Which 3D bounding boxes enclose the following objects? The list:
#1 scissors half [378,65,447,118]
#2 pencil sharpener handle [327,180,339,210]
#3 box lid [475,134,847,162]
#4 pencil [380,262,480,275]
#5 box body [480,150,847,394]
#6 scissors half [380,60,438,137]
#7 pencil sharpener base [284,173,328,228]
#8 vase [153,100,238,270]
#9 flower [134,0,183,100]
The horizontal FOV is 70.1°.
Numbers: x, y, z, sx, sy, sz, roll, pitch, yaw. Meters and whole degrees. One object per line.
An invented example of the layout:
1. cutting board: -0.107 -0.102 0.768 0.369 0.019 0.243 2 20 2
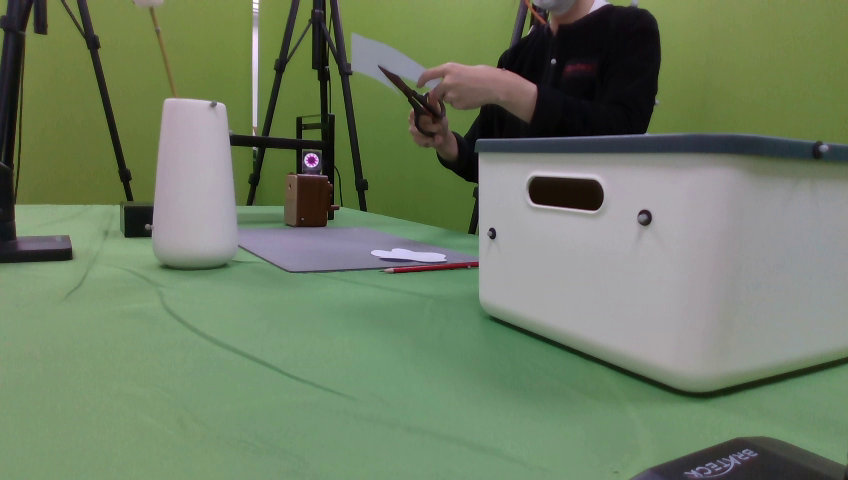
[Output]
1. scissors half: -0.019 -0.269 1.087 0.013 0.040 0.176 1 -16 45
2. pencil sharpener handle: -0.194 -0.095 1.256 0.031 0.067 0.036 -2 -7 -36
3. box lid: 0.256 -0.073 0.528 0.373 0.015 0.262 -2 8 -31
4. pencil: 0.030 0.037 0.794 0.195 0.012 0.012 -3 9 -30
5. box body: 0.254 0.001 0.539 0.366 0.160 0.253 -2 9 -31
6. scissors half: -0.028 -0.250 1.080 0.012 0.040 0.176 7 -36 48
7. pencil sharpener base: -0.239 -0.081 1.231 0.077 0.107 0.061 -2 9 -36
8. vase: -0.278 -0.066 0.736 0.098 0.200 0.098 2 9 0
9. flower: -0.282 -0.147 0.713 0.038 0.362 0.044 -23 24 -31
